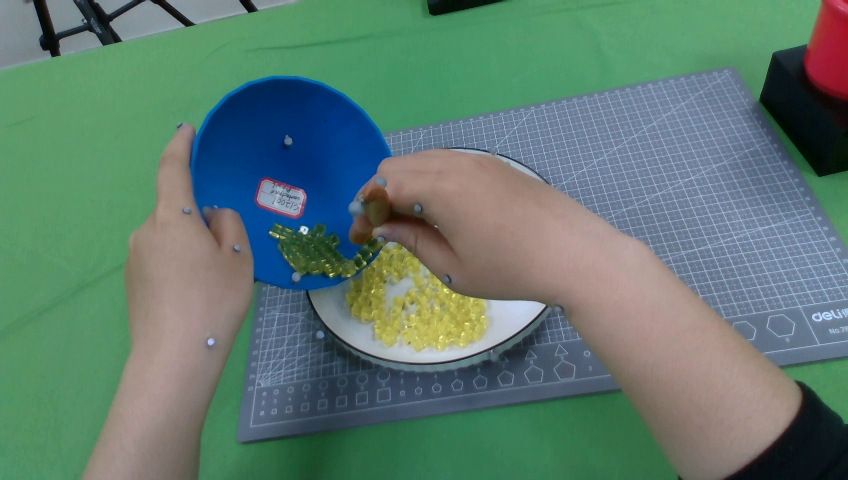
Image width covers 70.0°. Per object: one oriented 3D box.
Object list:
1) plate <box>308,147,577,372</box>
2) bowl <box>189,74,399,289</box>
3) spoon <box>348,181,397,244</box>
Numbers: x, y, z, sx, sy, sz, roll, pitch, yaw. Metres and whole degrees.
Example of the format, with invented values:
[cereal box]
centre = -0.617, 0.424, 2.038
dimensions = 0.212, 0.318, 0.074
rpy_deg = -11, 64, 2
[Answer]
[plate]
centre = 0.013, 0.012, 0.474
dimensions = 0.207, 0.039, 0.205
rpy_deg = -6, 52, 8
[bowl]
centre = -0.102, -0.037, 0.450
dimensions = 0.151, 0.152, 0.076
rpy_deg = -52, 23, -26
[spoon]
centre = -0.028, -0.014, 0.355
dimensions = 0.041, 0.193, 0.021
rpy_deg = -34, 92, -6
